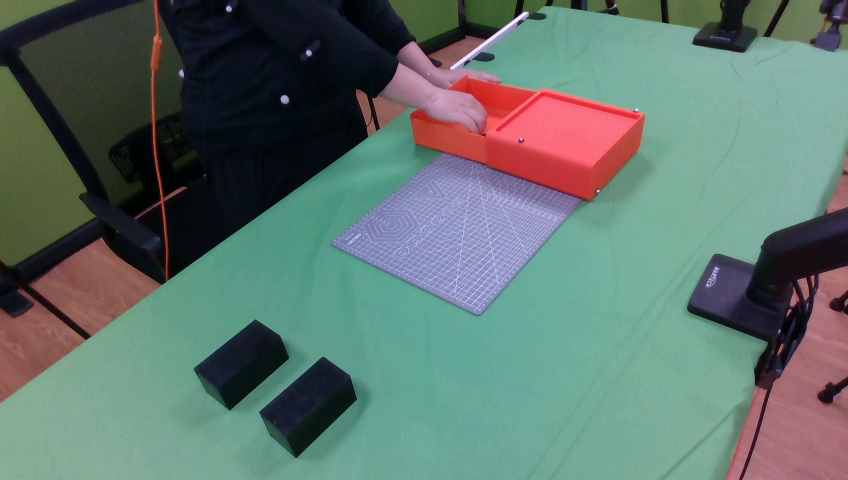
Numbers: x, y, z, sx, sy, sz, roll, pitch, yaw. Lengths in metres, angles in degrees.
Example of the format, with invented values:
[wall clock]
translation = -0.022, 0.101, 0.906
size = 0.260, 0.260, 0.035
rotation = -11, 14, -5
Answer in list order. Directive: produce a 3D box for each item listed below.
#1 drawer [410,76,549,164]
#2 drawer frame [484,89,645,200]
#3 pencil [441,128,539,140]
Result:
[drawer]
translation = 0.113, -0.238, 1.190
size = 0.210, 0.073, 0.195
rotation = 22, 47, 34
[drawer frame]
translation = 0.253, -0.180, 1.094
size = 0.212, 0.083, 0.202
rotation = 24, 48, 31
[pencil]
translation = 0.128, -0.208, 1.194
size = 0.194, 0.012, 0.012
rotation = -4, 40, 8
